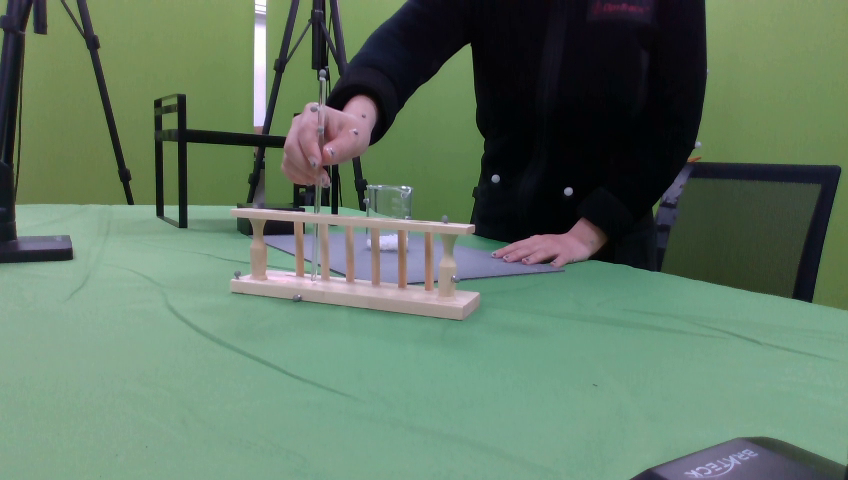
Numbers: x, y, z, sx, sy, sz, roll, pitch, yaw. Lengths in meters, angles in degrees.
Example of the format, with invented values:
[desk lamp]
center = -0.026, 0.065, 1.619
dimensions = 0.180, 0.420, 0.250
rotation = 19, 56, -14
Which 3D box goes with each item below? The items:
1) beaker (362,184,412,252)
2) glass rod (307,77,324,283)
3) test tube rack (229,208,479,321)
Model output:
[beaker]
center = -0.056, -0.034, 0.935
dimensions = 0.083, 0.100, 0.074
rotation = 10, 11, 44
[glass rod]
center = -0.106, -0.056, 0.586
dimensions = 0.008, 0.199, 0.008
rotation = 5, 7, 0
[test tube rack]
center = -0.069, 0.018, 0.597
dimensions = 0.242, 0.085, 0.067
rotation = 5, 7, 18
